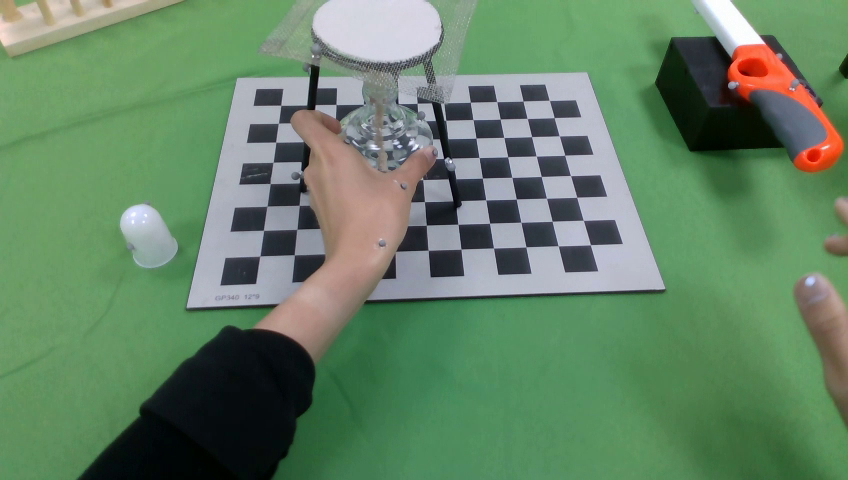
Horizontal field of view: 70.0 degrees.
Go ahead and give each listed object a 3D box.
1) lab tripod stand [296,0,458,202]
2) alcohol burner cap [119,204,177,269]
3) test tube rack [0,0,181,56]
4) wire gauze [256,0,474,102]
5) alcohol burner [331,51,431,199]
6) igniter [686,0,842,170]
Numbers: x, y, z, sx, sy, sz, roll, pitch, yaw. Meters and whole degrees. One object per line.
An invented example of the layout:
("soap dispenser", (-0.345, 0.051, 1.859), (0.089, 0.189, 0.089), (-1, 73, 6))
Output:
("lab tripod stand", (-0.031, -0.104, 0.459), (0.148, 0.132, 0.147), (2, 51, -2))
("alcohol burner cap", (-0.202, -0.005, 0.439), (0.034, 0.048, 0.033), (2, 52, -2))
("test tube rack", (-0.333, -0.283, 0.626), (0.242, 0.086, 0.066), (-30, 59, -23))
("wire gauze", (-0.032, -0.143, 0.404), (0.125, 0.011, 0.120), (13, 52, 6))
("alcohol burner", (-0.034, -0.089, 0.459), (0.078, 0.120, 0.077), (0, 52, 1))
("igniter", (0.281, -0.158, 0.524), (0.057, 0.025, 0.273), (-4, 49, -1))
